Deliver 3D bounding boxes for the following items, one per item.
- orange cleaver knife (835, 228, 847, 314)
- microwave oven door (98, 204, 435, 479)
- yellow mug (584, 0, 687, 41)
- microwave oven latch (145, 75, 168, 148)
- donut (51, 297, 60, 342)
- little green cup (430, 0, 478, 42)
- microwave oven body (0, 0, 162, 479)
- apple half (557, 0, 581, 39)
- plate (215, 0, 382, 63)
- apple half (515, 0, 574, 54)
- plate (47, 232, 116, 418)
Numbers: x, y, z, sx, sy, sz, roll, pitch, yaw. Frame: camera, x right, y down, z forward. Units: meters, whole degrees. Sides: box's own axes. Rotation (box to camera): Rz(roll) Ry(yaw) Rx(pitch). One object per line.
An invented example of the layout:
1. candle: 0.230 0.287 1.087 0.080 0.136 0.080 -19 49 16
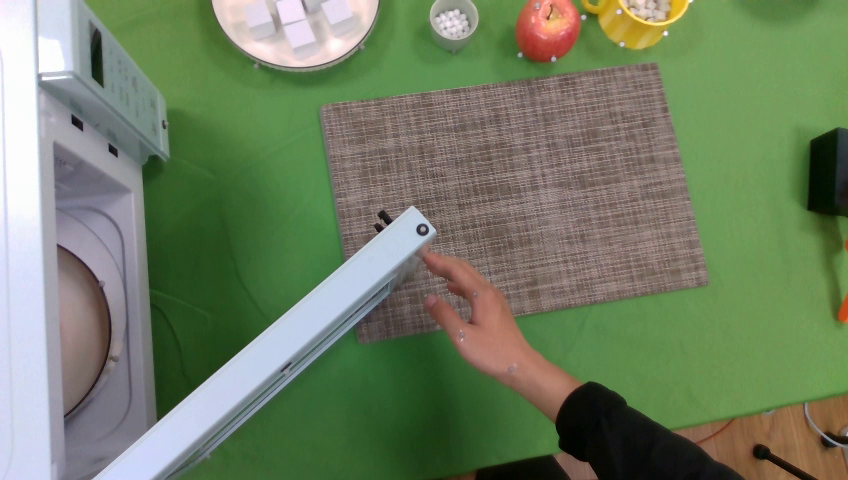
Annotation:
1. orange cleaver knife: 0.557 -0.010 0.757 0.012 0.076 0.212 10 113 -1
2. microwave oven door: -0.139 0.108 0.582 0.355 0.244 0.039 -42 86 -9
3. yellow mug: 0.269 -0.321 0.786 0.131 0.064 0.099 2 81 -4
4. microwave oven latch: -0.316 -0.149 0.704 0.030 0.029 0.079 -5 83 -6
5. donut: -0.418 0.085 0.605 0.099 0.048 0.099 1 83 -7
6. little green cup: 0.037 -0.286 0.774 0.061 0.038 0.061 1 82 -5
7. microwave oven body: -0.434 0.026 0.571 0.326 0.260 0.440 -6 83 -6
8. apple half: 0.175 -0.293 0.769 0.033 0.081 0.081 -36 86 -5
9. plate: -0.155 -0.316 0.761 0.208 0.039 0.207 1 82 -5
10. apple half: 0.144 -0.270 0.764 0.053 0.074 0.081 -36 90 -4
11. plate: -0.420 0.090 0.616 0.209 0.038 0.208 1 82 -6
